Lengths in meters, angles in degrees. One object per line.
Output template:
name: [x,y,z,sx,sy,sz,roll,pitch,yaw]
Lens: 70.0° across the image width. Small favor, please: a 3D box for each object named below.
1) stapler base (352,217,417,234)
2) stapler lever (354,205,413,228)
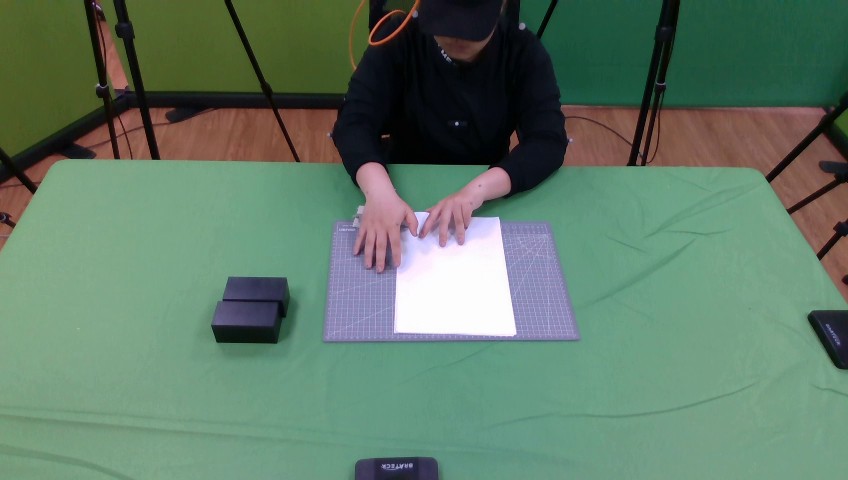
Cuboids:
stapler base: [-0.079,-0.040,1.225,0.130,0.024,0.041,6,45,4]
stapler lever: [-0.079,-0.048,1.216,0.118,0.040,0.026,16,44,-6]
